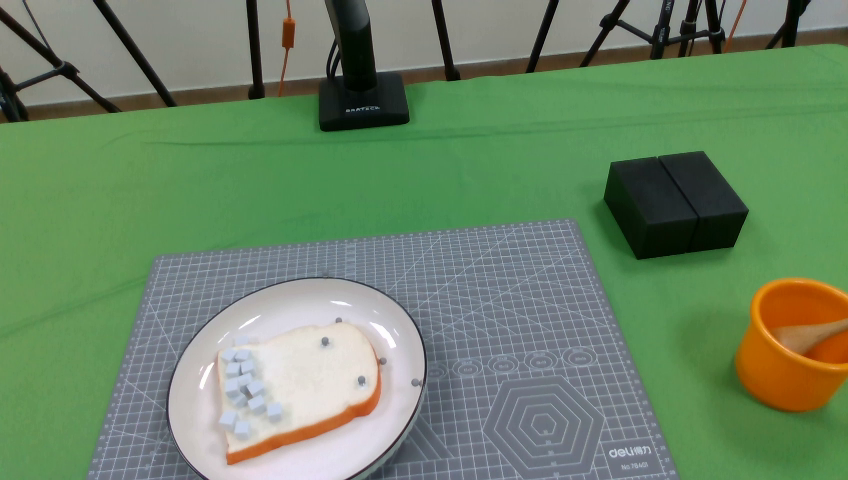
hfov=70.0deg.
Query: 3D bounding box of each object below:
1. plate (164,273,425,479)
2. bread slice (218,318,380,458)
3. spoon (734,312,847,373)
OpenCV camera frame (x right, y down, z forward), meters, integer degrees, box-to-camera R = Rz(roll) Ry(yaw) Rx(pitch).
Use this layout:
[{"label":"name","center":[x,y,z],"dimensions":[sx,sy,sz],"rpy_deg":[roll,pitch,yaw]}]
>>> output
[{"label":"plate","center":[-0.102,0.115,0.501],"dimensions":[0.209,0.038,0.207],"rpy_deg":[-1,45,1]},{"label":"bread slice","center":[-0.105,0.113,0.507],"dimensions":[0.132,0.019,0.103],"rpy_deg":[-16,47,-12]},{"label":"spoon","center":[0.329,0.054,0.461],"dimensions":[0.193,0.022,0.041],"rpy_deg":[-31,33,29]}]
